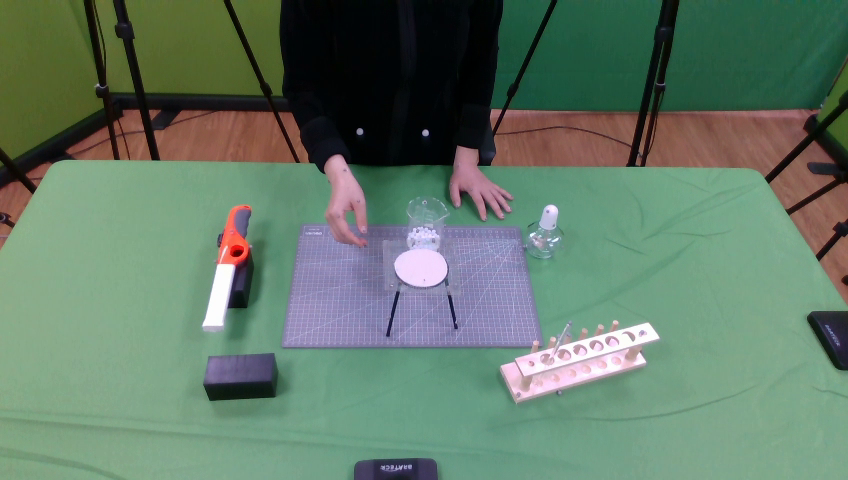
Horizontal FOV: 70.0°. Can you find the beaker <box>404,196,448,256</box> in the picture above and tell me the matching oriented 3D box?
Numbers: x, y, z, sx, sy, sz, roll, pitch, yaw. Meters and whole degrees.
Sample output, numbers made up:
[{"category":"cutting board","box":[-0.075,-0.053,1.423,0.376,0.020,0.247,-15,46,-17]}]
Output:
[{"category":"beaker","box":[0.001,-0.024,1.164,0.084,0.101,0.073,6,46,0]}]

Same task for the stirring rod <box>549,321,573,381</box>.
[{"category":"stirring rod","box":[0.202,0.167,0.901,0.006,0.177,0.014,-18,55,-11]}]

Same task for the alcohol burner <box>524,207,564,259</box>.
[{"category":"alcohol burner","box":[0.236,-0.020,1.174,0.078,0.120,0.077,1,48,-1]}]

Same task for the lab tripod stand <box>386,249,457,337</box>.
[{"category":"lab tripod stand","box":[-0.010,0.087,1.032,0.148,0.132,0.147,1,45,-1]}]

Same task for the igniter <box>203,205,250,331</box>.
[{"category":"igniter","box":[-0.345,0.039,1.065,0.057,0.025,0.274,2,49,-6]}]

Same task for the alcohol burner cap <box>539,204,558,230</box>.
[{"category":"alcohol burner cap","box":[0.239,-0.045,1.148,0.034,0.048,0.033,1,42,-1]}]

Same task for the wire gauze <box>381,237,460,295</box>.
[{"category":"wire gauze","box":[-0.008,0.040,0.983,0.125,0.011,0.120,1,44,-4]}]

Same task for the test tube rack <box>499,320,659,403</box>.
[{"category":"test tube rack","box":[0.252,0.187,0.994,0.243,0.085,0.066,-12,48,-15]}]
